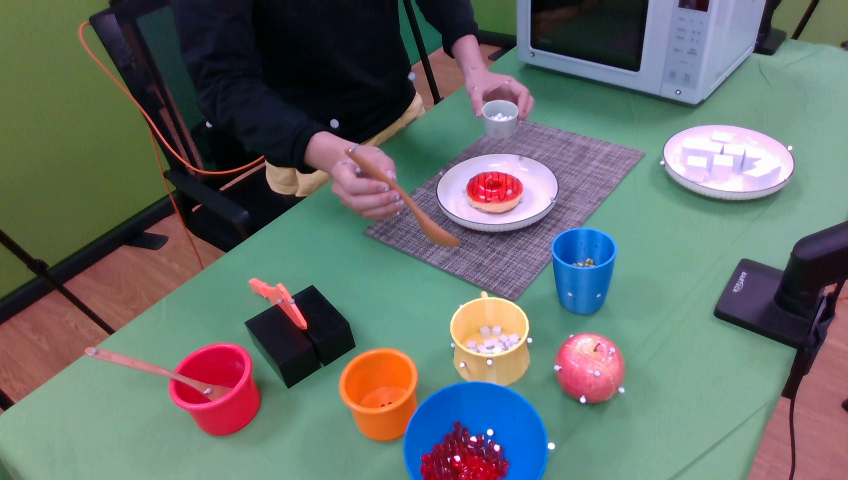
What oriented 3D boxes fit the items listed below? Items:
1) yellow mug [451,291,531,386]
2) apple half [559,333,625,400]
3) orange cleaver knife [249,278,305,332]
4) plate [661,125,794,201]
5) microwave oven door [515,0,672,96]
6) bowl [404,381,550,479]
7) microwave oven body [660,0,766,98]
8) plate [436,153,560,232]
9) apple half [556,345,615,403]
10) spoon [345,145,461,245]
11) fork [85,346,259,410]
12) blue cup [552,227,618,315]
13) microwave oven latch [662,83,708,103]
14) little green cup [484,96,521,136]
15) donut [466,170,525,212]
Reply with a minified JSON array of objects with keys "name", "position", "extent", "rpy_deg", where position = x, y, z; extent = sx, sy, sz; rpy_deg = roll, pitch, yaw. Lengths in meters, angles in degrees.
[{"name":"yellow mug","position":[0.086,0.120,0.786],"extent":[0.100,0.064,0.130],"rpy_deg":[-7,39,2]},{"name":"apple half","position":[0.209,0.147,0.730],"extent":[0.080,0.075,0.053],"rpy_deg":[26,48,38]},{"name":"orange cleaver knife","position":[-0.210,0.088,0.855],"extent":[0.012,0.077,0.210],"rpy_deg":[-28,15,-25]},{"name":"plate","position":[0.513,-0.128,1.035],"extent":[0.207,0.039,0.206],"rpy_deg":[-4,40,4]},{"name":"microwave oven door","position":[0.344,-0.455,1.260],"extent":[0.353,0.245,0.039],"rpy_deg":[26,51,33]},{"name":"bowl","position":[0.058,0.235,0.645],"extent":[0.151,0.077,0.150],"rpy_deg":[-4,39,4]},{"name":"microwave oven body","position":[0.472,-0.513,1.317],"extent":[0.438,0.261,0.327],"rpy_deg":[26,51,34]},{"name":"plate","position":[0.125,-0.078,1.029],"extent":[0.209,0.038,0.208],"rpy_deg":[-4,40,4]},{"name":"apple half","position":[0.181,0.167,0.709],"extent":[0.080,0.081,0.033],"rpy_deg":[29,50,35]},{"name":"spoon","position":[-0.023,-0.049,0.716],"extent":[0.041,0.195,0.021],"rpy_deg":[-3,50,51]},{"name":"fork","position":[-0.298,0.166,0.727],"extent":[0.209,0.018,0.028],"rpy_deg":[28,48,-23]},{"name":"blue cup","position":[0.218,0.047,0.825],"extent":[0.092,0.100,0.092],"rpy_deg":[-6,39,5]},{"name":"microwave oven latch","position":[0.518,-0.297,1.204],"extent":[0.078,0.029,0.030],"rpy_deg":[29,53,36]},{"name":"little green cup","position":[0.129,-0.206,1.011],"extent":[0.062,0.039,0.061],"rpy_deg":[3,59,-5]},{"name":"donut","position":[0.121,-0.083,1.019],"extent":[0.099,0.048,0.098],"rpy_deg":[-4,39,4]}]
